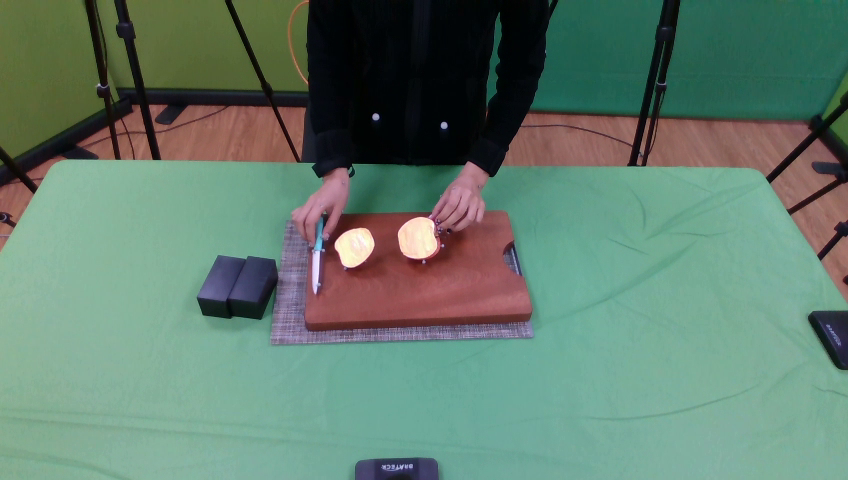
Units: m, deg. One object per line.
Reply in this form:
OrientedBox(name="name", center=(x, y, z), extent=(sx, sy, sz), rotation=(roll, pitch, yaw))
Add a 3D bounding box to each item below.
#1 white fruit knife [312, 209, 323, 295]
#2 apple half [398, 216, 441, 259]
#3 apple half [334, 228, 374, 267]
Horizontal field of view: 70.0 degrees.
OrientedBox(name="white fruit knife", center=(-0.199, 0.018, 1.122), extent=(0.016, 0.027, 0.206), rotation=(22, 43, -31))
OrientedBox(name="apple half", center=(-0.006, 0.000, 1.132), extent=(0.074, 0.053, 0.080), rotation=(-16, 76, 10))
OrientedBox(name="apple half", center=(-0.123, 0.017, 1.120), extent=(0.081, 0.033, 0.081), rotation=(-8, 61, 14))
